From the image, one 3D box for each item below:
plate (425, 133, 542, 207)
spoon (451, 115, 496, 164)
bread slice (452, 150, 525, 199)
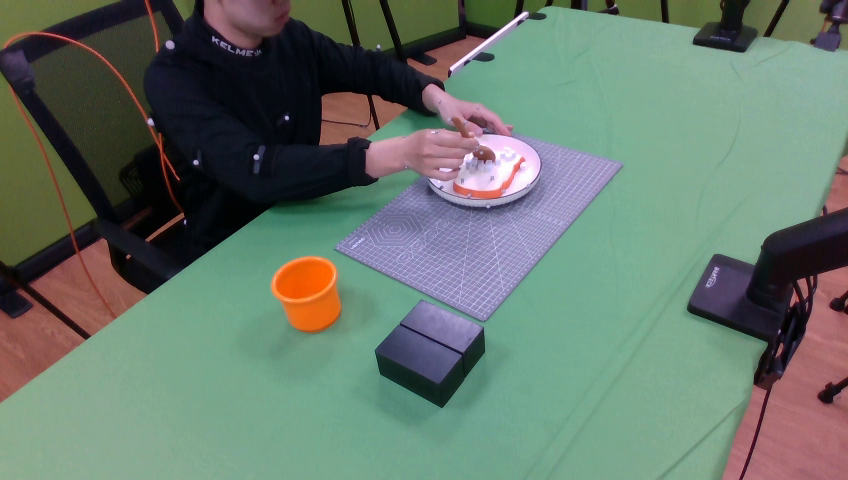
[{"bbox_3d":[0.106,-0.121,1.079,0.209,0.038,0.208,-4,41,4],"label":"plate"},{"bbox_3d":[0.080,-0.163,0.995,0.041,0.195,0.021,3,82,22],"label":"spoon"},{"bbox_3d":[0.112,-0.119,1.079,0.104,0.019,0.131,11,43,21],"label":"bread slice"}]
